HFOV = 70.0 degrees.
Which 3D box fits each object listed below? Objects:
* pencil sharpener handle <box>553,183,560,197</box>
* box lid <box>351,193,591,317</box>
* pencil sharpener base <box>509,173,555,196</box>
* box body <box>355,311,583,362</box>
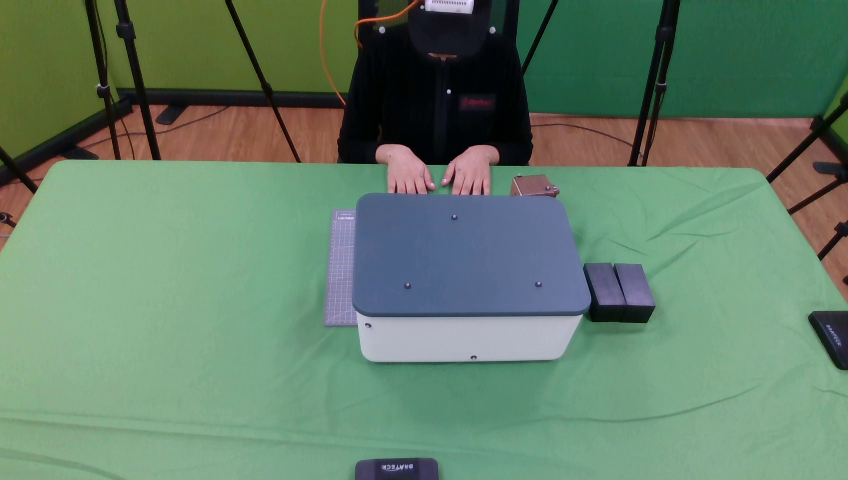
[{"bbox_3d":[0.267,-0.089,1.224,0.031,0.068,0.035,-6,44,-10],"label":"pencil sharpener handle"},{"bbox_3d":[0.071,0.017,0.984,0.372,0.015,0.261,0,47,-4],"label":"box lid"},{"bbox_3d":[0.216,-0.075,1.224,0.077,0.107,0.061,-6,46,-10],"label":"pencil sharpener base"},{"bbox_3d":[0.066,0.068,1.038,0.364,0.161,0.252,0,46,-4],"label":"box body"}]
